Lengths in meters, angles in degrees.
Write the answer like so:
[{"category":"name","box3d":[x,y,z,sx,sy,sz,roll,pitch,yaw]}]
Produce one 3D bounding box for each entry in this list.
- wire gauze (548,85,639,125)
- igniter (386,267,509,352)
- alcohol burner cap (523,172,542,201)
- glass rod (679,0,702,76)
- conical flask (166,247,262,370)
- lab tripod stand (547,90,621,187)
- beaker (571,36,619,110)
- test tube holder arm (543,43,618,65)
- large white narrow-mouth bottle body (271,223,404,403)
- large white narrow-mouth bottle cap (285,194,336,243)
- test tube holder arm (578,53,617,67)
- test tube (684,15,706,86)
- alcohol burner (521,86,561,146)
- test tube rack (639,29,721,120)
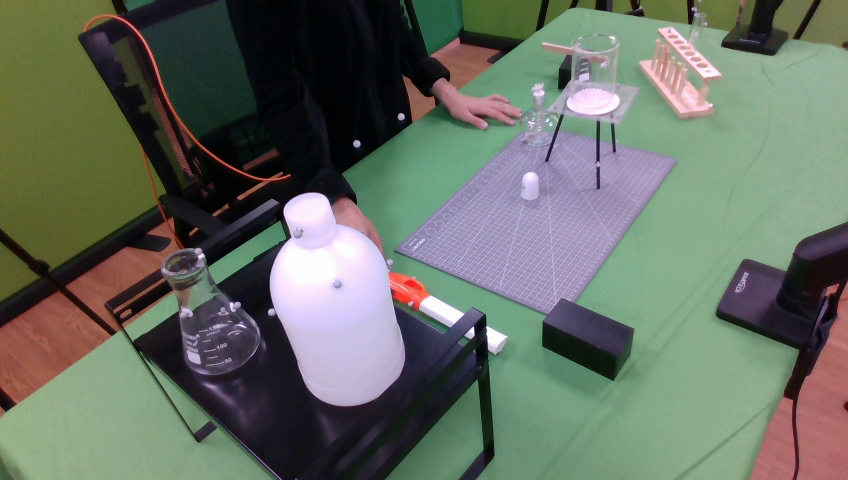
[{"category":"wire gauze","box3d":[0.286,-0.233,1.020,0.124,0.011,0.122,15,43,30]},{"category":"igniter","box3d":[-0.004,0.082,0.862,0.274,0.025,0.057,26,33,27]},{"category":"alcohol burner cap","box3d":[0.186,-0.096,1.047,0.034,0.048,0.033,-6,37,5]},{"category":"glass rod","box3d":[0.542,-0.417,1.233,0.008,0.200,0.008,1,39,0]},{"category":"conical flask","box3d":[-0.209,0.064,0.584,0.075,0.122,0.075,-5,40,4]},{"category":"lab tripod stand","box3d":[0.289,-0.184,1.062,0.148,0.132,0.147,-6,41,6]},{"category":"beaker","box3d":[0.281,-0.273,0.992,0.084,0.101,0.073,-24,42,-16]},{"category":"test tube holder arm","box3d":[0.344,-0.413,1.340,0.177,0.015,0.013,25,50,31]},{"category":"large white narrow-mouth bottle body","box3d":[-0.077,0.048,0.525,0.102,0.195,0.101,-5,40,5]},{"category":"large white narrow-mouth bottle cap","box3d":[-0.087,-0.017,0.467,0.038,0.024,0.037,-5,40,4]},{"category":"test tube holder arm","box3d":[0.376,-0.393,1.314,0.087,0.015,0.010,25,51,32]},{"category":"test tube","box3d":[0.540,-0.378,1.215,0.017,0.151,0.017,-2,44,3]},{"category":"alcohol burner","box3d":[0.223,-0.241,1.156,0.078,0.119,0.077,-5,43,5]},{"category":"test tube rack","box3d":[0.527,-0.351,1.262,0.067,0.085,0.241,-8,40,1]}]
